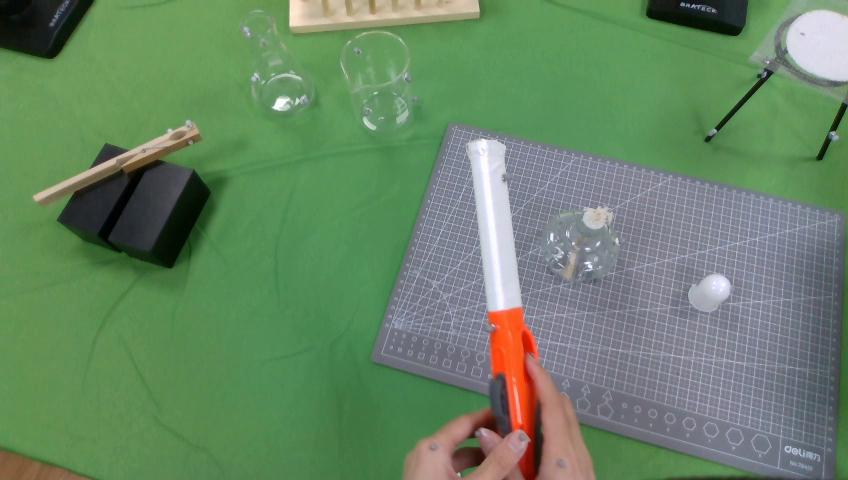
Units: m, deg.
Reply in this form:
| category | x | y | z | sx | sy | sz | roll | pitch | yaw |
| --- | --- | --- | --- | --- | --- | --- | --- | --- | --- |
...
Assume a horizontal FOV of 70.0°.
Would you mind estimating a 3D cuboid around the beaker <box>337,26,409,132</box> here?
| category | x | y | z | sx | sy | sz | roll | pitch | yaw |
| --- | --- | --- | --- | --- | --- | --- | --- | --- | --- |
| beaker | -0.056 | -0.174 | 0.685 | 0.073 | 0.101 | 0.083 | 29 | 72 | 14 |

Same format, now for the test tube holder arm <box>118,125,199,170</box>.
| category | x | y | z | sx | sy | sz | roll | pitch | yaw |
| --- | --- | --- | --- | --- | --- | --- | --- | --- | --- |
| test tube holder arm | -0.286 | -0.099 | 0.651 | 0.088 | 0.015 | 0.010 | -26 | 69 | -10 |

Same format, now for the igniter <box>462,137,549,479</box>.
| category | x | y | z | sx | sy | sz | roll | pitch | yaw |
| --- | --- | --- | --- | --- | --- | --- | --- | --- | --- |
| igniter | 0.061 | 0.061 | 0.453 | 0.025 | 0.057 | 0.276 | -10 | 87 | 41 |

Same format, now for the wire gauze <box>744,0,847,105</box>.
| category | x | y | z | sx | sy | sz | roll | pitch | yaw |
| --- | --- | --- | --- | --- | --- | --- | --- | --- | --- |
| wire gauze | 0.396 | -0.192 | 0.589 | 0.121 | 0.011 | 0.125 | 36 | 73 | 13 |

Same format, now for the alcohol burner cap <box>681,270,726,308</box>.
| category | x | y | z | sx | sy | sz | roll | pitch | yaw |
| --- | --- | --- | --- | --- | --- | --- | --- | --- | --- |
| alcohol burner cap | 0.285 | 0.047 | 0.613 | 0.034 | 0.048 | 0.033 | 0 | 68 | 1 |

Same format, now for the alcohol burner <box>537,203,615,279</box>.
| category | x | y | z | sx | sy | sz | roll | pitch | yaw |
| --- | --- | --- | --- | --- | --- | --- | --- | --- | --- |
| alcohol burner | 0.153 | -0.005 | 0.599 | 0.078 | 0.120 | 0.077 | 0 | 67 | 0 |

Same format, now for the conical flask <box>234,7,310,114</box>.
| category | x | y | z | sx | sy | sz | roll | pitch | yaw |
| --- | --- | --- | --- | --- | --- | --- | --- | --- | --- |
| conical flask | -0.178 | -0.206 | 0.689 | 0.075 | 0.123 | 0.075 | -1 | 67 | 2 |

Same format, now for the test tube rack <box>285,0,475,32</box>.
| category | x | y | z | sx | sy | sz | roll | pitch | yaw |
| --- | --- | --- | --- | --- | --- | --- | --- | --- | --- |
| test tube rack | -0.059 | -0.325 | 0.755 | 0.242 | 0.086 | 0.066 | -5 | 67 | -1 |

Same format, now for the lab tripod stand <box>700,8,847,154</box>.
| category | x | y | z | sx | sy | sz | roll | pitch | yaw |
| --- | --- | --- | --- | --- | --- | --- | --- | --- | --- |
| lab tripod stand | 0.391 | -0.166 | 0.652 | 0.148 | 0.132 | 0.147 | 0 | 67 | 0 |

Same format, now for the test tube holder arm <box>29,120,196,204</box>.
| category | x | y | z | sx | sy | sz | roll | pitch | yaw |
| --- | --- | --- | --- | --- | --- | --- | --- | --- | --- |
| test tube holder arm | -0.328 | -0.084 | 0.645 | 0.178 | 0.015 | 0.013 | -27 | 69 | -10 |
